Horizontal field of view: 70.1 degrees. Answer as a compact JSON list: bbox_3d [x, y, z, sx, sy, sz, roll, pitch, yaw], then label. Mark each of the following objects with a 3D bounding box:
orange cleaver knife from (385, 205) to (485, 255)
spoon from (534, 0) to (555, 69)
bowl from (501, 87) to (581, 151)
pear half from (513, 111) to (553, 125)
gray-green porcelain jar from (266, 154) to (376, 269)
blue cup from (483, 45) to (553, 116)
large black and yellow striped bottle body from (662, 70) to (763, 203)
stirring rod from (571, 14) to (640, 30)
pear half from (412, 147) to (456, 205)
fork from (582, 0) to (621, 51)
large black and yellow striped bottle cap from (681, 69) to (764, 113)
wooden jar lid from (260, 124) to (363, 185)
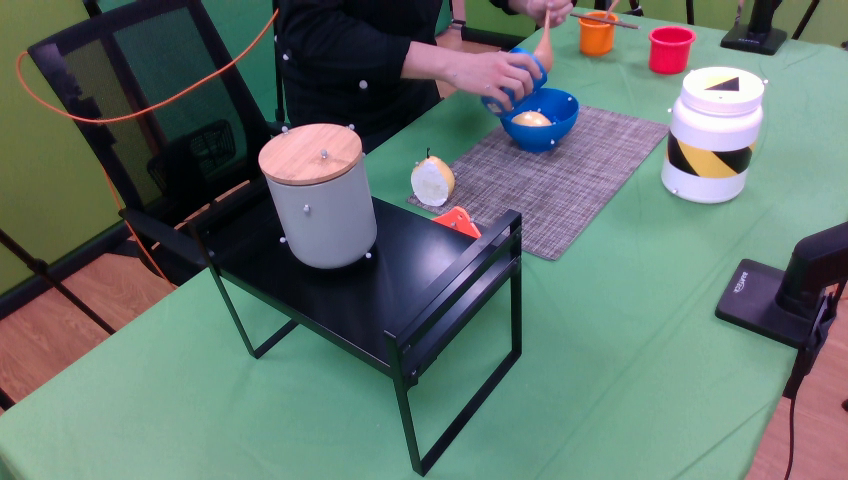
[{"bbox_3d":[0.012,-0.010,0.942,0.012,0.077,0.210,-36,19,-35],"label":"orange cleaver knife"},{"bbox_3d":[0.220,-0.391,1.063,0.042,0.193,0.021,7,8,-6],"label":"spoon"},{"bbox_3d":[0.220,-0.223,1.155,0.151,0.077,0.150,-4,40,4],"label":"bowl"},{"bbox_3d":[0.212,-0.228,1.153,0.088,0.031,0.070,7,45,10],"label":"pear half"},{"bbox_3d":[-0.112,-0.039,0.685,0.106,0.127,0.105,-4,40,4],"label":"gray-green porcelain jar"},{"bbox_3d":[0.157,-0.275,1.064,0.092,0.093,0.100,34,78,38],"label":"blue cup"},{"bbox_3d":[0.464,-0.166,0.976,0.131,0.185,0.130,-5,41,5],"label":"large black and yellow striped bottle body"},{"bbox_3d":[0.419,-0.508,1.404,0.174,0.006,0.014,28,55,35],"label":"stirring rod"},{"bbox_3d":[0.019,-0.120,1.042,0.076,0.110,0.056,11,44,16],"label":"pear half"},{"bbox_3d":[0.446,-0.539,1.438,0.207,0.019,0.028,-57,36,12],"label":"fork"},{"bbox_3d":[0.453,-0.229,0.921,0.115,0.019,0.114,-4,39,4],"label":"large black and yellow striped bottle cap"},{"bbox_3d":[-0.119,-0.088,0.645,0.108,0.021,0.108,-4,40,4],"label":"wooden jar lid"}]
